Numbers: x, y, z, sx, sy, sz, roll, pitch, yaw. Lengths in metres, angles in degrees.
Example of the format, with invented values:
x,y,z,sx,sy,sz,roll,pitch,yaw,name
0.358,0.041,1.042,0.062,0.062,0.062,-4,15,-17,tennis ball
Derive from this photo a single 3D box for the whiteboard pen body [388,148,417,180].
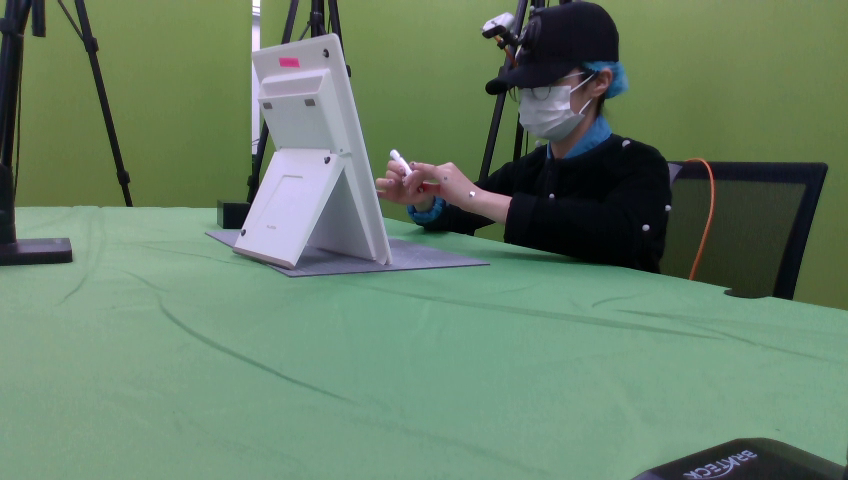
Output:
x,y,z,sx,sy,sz,roll,pitch,yaw,name
-0.034,-0.129,1.069,0.017,0.017,0.140,-1,32,-26,whiteboard pen body

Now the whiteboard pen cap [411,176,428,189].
x,y,z,sx,sy,sz,roll,pitch,yaw,name
-0.008,-0.098,1.023,0.017,0.017,0.032,-2,20,-31,whiteboard pen cap

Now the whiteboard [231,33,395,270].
x,y,z,sx,sy,sz,roll,pitch,yaw,name
-0.193,-0.094,0.805,0.144,0.305,0.216,-28,25,-35,whiteboard
